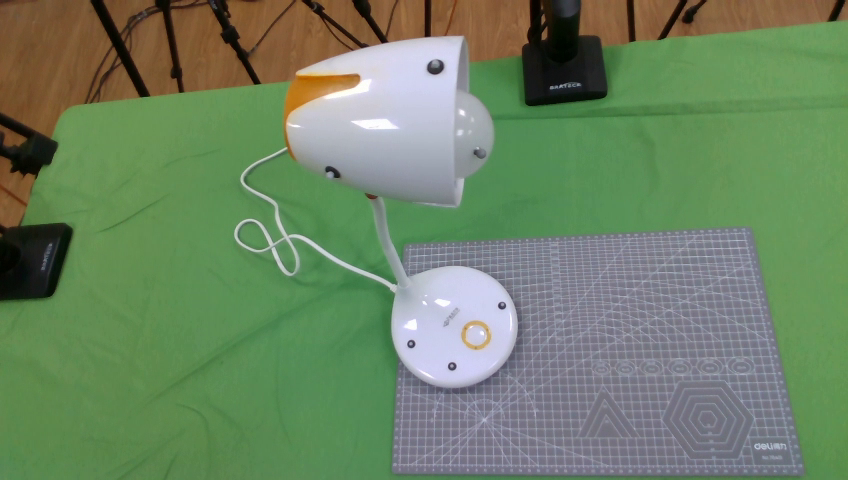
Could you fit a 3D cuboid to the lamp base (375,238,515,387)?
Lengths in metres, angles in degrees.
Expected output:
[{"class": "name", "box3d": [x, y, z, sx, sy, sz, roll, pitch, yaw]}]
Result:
[{"class": "lamp base", "box3d": [0.009, 0.067, 0.700, 0.178, 0.182, 0.160, 21, 69, 22]}]

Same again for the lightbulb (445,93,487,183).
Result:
[{"class": "lightbulb", "box3d": [-0.012, -0.066, 0.404, 0.107, 0.060, 0.059, -1, 64, 11]}]

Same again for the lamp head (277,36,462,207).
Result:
[{"class": "lamp head", "box3d": [-0.034, -0.078, 0.412, 0.122, 0.113, 0.111, 1, 64, 12]}]
